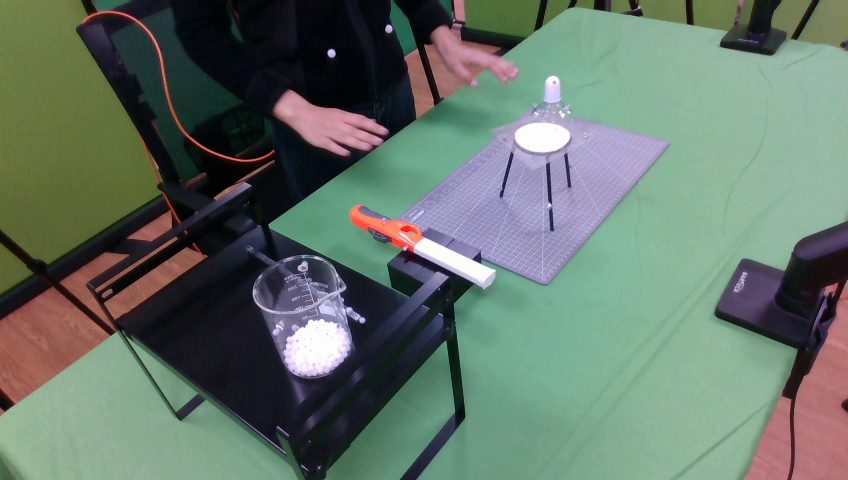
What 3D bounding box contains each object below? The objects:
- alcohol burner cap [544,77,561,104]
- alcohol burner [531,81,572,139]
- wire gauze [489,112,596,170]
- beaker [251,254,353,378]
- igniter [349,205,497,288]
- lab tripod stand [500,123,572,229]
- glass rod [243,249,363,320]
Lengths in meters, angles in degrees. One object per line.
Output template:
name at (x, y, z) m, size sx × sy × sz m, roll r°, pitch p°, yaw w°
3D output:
alcohol burner cap at (0.243, -0.285, 1.143) m, size 0.034 × 0.048 × 0.033 m, roll -4°, pitch 37°, yaw 4°
alcohol burner at (0.246, -0.256, 1.165) m, size 0.078 × 0.119 × 0.077 m, roll -6°, pitch 40°, yaw 6°
wire gauze at (0.183, -0.161, 0.942) m, size 0.122 × 0.011 × 0.124 m, roll -24°, pitch 44°, yaw -18°
beaker at (-0.106, 0.074, 0.565) m, size 0.084 × 0.101 × 0.073 m, roll -1°, pitch 41°, yaw 8°
igniter at (-0.013, 0.004, 0.898) m, size 0.274 × 0.025 × 0.057 m, roll 25°, pitch 44°, yaw 32°
lab tripod stand at (0.194, -0.110, 0.985) m, size 0.148 × 0.132 × 0.147 m, roll -3°, pitch 41°, yaw 3°
glass rod at (-0.141, 0.046, 0.674) m, size 0.198 × 0.008 × 0.008 m, roll 24°, pitch 49°, yaw 32°
